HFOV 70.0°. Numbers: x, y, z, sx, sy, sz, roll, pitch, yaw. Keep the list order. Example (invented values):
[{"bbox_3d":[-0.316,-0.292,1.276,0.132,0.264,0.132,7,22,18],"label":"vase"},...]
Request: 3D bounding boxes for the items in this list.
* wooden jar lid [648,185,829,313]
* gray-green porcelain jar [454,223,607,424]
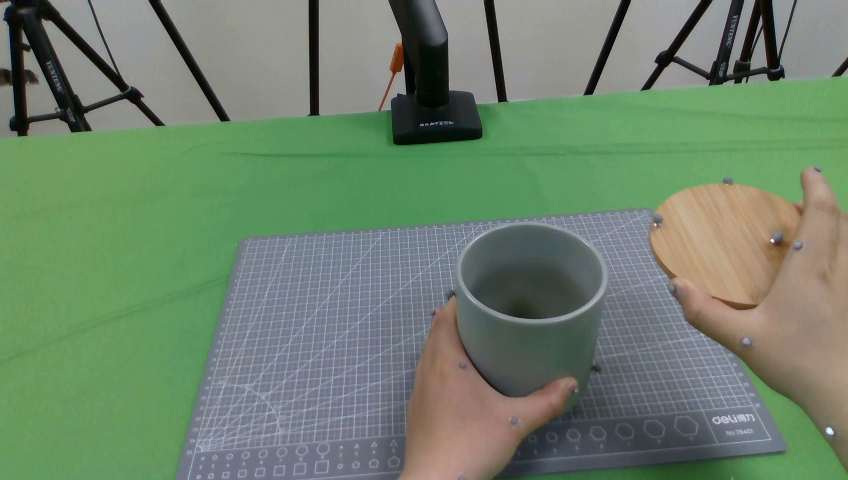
[{"bbox_3d":[0.203,0.006,0.399,0.108,0.021,0.107,-4,46,5],"label":"wooden jar lid"},{"bbox_3d":[0.076,0.068,0.459,0.106,0.127,0.105,-2,40,2],"label":"gray-green porcelain jar"}]
